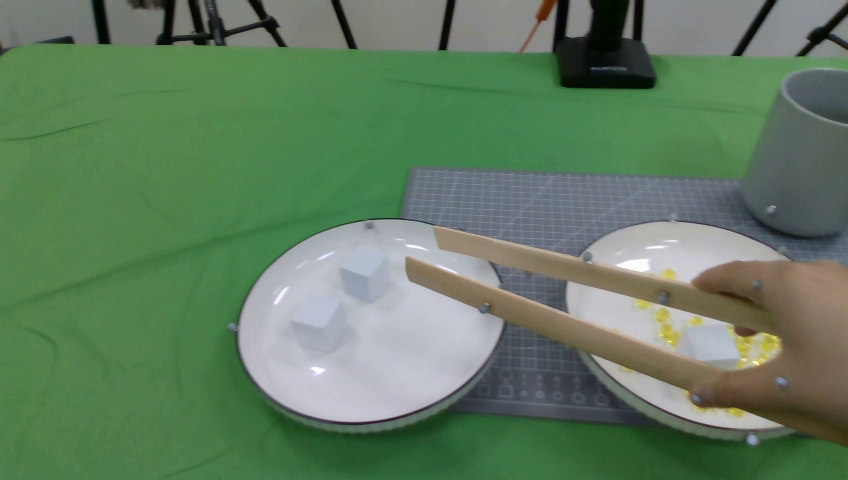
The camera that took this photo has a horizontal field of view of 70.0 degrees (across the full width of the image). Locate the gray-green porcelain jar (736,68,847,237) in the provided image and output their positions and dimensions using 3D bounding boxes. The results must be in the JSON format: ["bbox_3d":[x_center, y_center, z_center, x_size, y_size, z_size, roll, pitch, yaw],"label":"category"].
[{"bbox_3d":[0.354,-0.075,0.552,0.106,0.127,0.105,-1,43,1],"label":"gray-green porcelain jar"}]

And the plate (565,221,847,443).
[{"bbox_3d":[0.213,0.066,0.469,0.208,0.039,0.205,-1,42,1],"label":"plate"}]

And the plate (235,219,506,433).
[{"bbox_3d":[-0.039,0.064,0.481,0.209,0.038,0.207,-2,42,2],"label":"plate"}]

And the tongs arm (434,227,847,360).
[{"bbox_3d":[0.167,0.052,0.360,0.382,0.027,0.050,13,46,25],"label":"tongs arm"}]

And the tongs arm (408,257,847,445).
[{"bbox_3d":[0.154,0.068,0.345,0.385,0.028,0.028,16,44,28],"label":"tongs arm"}]
